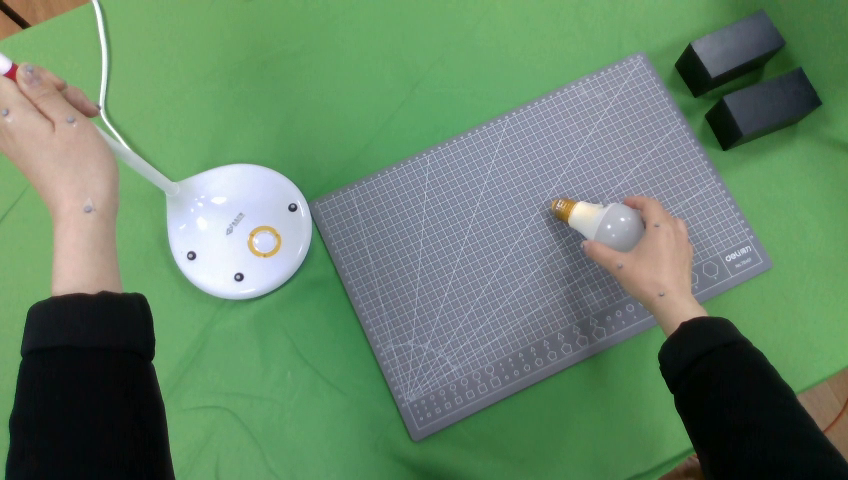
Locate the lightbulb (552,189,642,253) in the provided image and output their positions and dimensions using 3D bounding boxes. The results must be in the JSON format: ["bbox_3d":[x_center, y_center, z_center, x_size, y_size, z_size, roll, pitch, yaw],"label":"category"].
[{"bbox_3d":[0.189,-0.026,0.672,0.106,0.060,0.059,32,80,29],"label":"lightbulb"}]

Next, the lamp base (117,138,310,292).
[{"bbox_3d":[-0.225,-0.040,0.624,0.179,0.181,0.160,21,79,8],"label":"lamp base"}]
